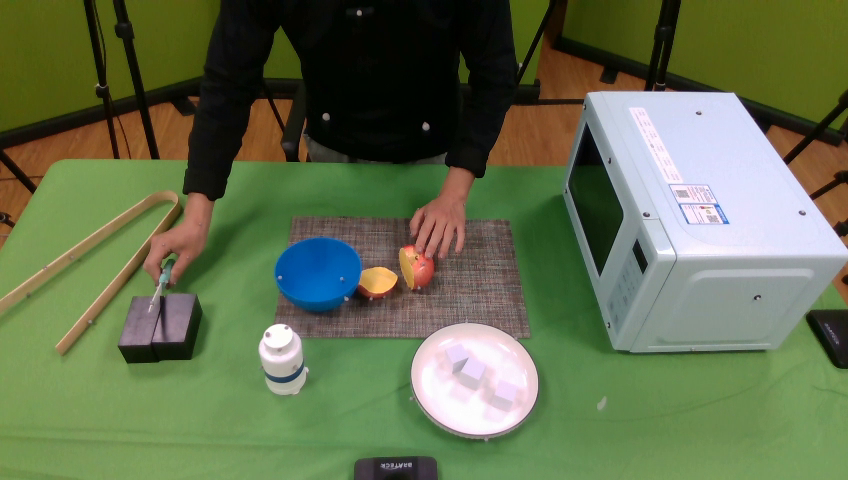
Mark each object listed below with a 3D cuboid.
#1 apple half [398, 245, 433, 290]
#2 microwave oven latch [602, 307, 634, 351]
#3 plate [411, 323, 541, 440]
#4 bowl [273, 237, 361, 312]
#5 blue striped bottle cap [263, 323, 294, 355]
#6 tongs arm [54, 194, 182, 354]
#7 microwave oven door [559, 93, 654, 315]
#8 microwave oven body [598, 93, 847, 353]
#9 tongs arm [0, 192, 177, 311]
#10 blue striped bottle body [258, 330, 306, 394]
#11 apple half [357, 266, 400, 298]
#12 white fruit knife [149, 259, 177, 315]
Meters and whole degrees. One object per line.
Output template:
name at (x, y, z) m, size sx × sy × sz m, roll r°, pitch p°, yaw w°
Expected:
apple half at (-0.011, 0.049, 1.110) m, size 0.053 × 0.075 × 0.080 m, roll -14°, pitch 54°, yaw -18°
microwave oven latch at (0.332, 0.153, 1.044) m, size 0.030 × 0.029 × 0.078 m, roll -1°, pitch 45°, yaw -4°
plate at (0.082, 0.228, 0.976) m, size 0.208 × 0.039 × 0.206 m, roll 2°, pitch 45°, yaw -2°
bowl at (-0.186, 0.075, 1.069) m, size 0.151 × 0.077 × 0.150 m, roll 3°, pitch 45°, yaw -3°
blue striped bottle cap at (-0.217, 0.146, 0.900) m, size 0.044 × 0.021 × 0.044 m, roll 1°, pitch 46°, yaw -1°
tongs arm at (-0.543, 0.048, 1.107) m, size 0.028 × 0.028 × 0.385 m, roll 11°, pitch 45°, yaw 10°
microwave oven door at (0.327, -0.074, 1.123) m, size 0.039 × 0.245 × 0.353 m, roll -1°, pitch 46°, yaw -5°
microwave oven body at (0.475, -0.041, 1.109) m, size 0.326 × 0.261 × 0.438 m, roll -1°, pitch 45°, yaw -4°
tongs arm at (-0.618, 0.019, 1.123) m, size 0.050 × 0.026 × 0.384 m, roll 23°, pitch 47°, yaw 17°
blue striped bottle body at (-0.220, 0.182, 0.937) m, size 0.063 × 0.121 × 0.062 m, roll 2°, pitch 46°, yaw -2°
apple half at (-0.081, 0.082, 1.098) m, size 0.081 × 0.033 × 0.081 m, roll 0°, pitch 34°, yaw 0°
white fruit knife at (-0.444, 0.076, 1.029) m, size 0.016 × 0.027 × 0.206 m, roll 4°, pitch 19°, yaw -14°
